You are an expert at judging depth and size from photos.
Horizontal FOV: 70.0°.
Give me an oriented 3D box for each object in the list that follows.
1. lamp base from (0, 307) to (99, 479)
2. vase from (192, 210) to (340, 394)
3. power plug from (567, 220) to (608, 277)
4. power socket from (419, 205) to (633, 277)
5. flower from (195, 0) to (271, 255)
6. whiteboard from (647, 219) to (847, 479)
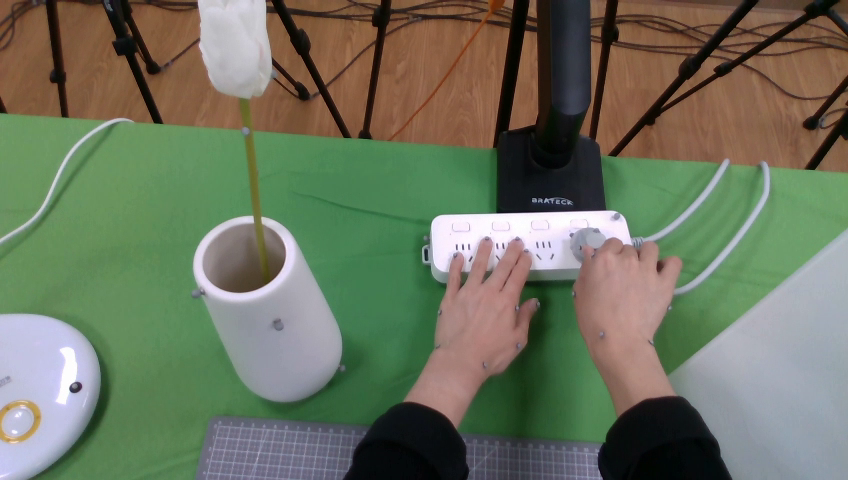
[{"bbox_3d":[-0.385,0.089,0.483,0.178,0.182,0.160,33,63,19],"label":"lamp base"},{"bbox_3d":[-0.127,0.057,0.500,0.098,0.201,0.097,0,59,0],"label":"vase"},{"bbox_3d":[0.161,0.012,0.605,0.035,0.053,0.072,8,60,4],"label":"power plug"},{"bbox_3d":[0.108,0.001,0.637,0.227,0.033,0.071,-1,60,-3],"label":"power socket"},{"bbox_3d":[-0.118,0.000,0.439,0.038,0.364,0.043,-6,42,-13],"label":"flower"},{"bbox_3d":[0.371,0.104,0.465,0.144,0.307,0.215,-16,59,-32],"label":"whiteboard"}]
